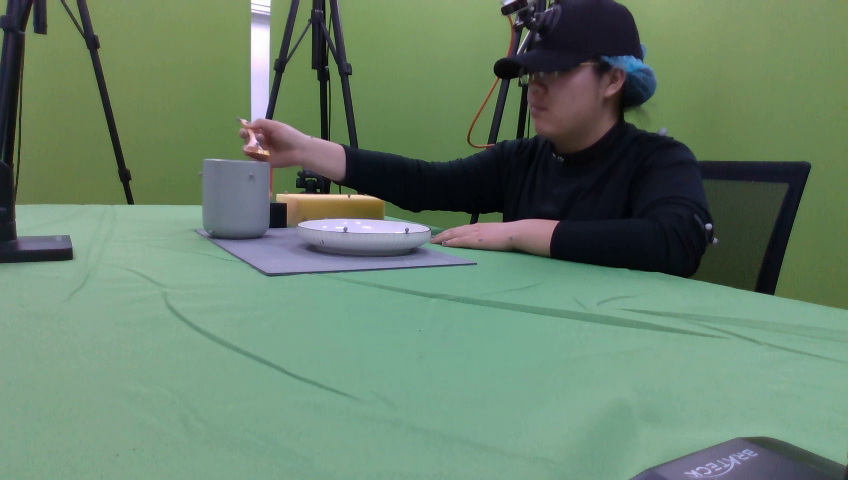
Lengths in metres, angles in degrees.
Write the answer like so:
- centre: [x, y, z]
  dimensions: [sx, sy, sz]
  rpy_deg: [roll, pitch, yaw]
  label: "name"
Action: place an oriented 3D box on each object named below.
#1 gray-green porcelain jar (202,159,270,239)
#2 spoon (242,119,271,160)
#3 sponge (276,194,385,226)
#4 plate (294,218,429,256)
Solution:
- centre: [-0.310, -0.068, 0.999]
  dimensions: [0.106, 0.126, 0.106]
  rpy_deg: [3, 8, 0]
  label: "gray-green porcelain jar"
- centre: [-0.296, -0.178, 1.048]
  dimensions: [0.042, 0.021, 0.193]
  rpy_deg: [7, 28, -27]
  label: "spoon"
- centre: [-0.202, -0.067, 1.312]
  dimensions: [0.208, 0.061, 0.117]
  rpy_deg: [-3, 9, -35]
  label: "sponge"
- centre: [-0.096, -0.005, 0.936]
  dimensions: [0.208, 0.039, 0.207]
  rpy_deg: [3, 7, 0]
  label: "plate"
